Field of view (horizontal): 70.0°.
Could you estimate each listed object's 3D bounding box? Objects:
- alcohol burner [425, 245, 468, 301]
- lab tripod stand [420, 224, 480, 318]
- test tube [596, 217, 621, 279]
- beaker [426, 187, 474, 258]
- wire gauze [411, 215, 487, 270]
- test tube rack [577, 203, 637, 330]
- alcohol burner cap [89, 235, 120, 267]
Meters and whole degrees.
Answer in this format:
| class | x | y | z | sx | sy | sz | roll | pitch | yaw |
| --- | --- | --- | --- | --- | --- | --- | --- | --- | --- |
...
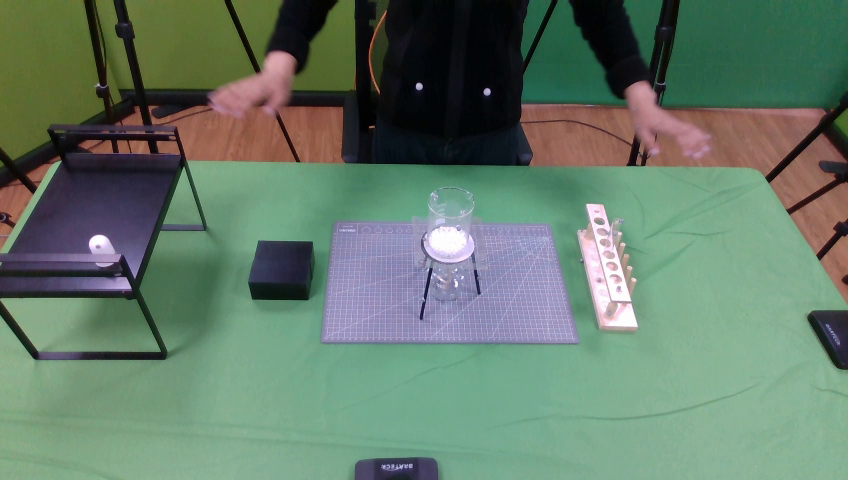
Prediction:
| class | x | y | z | sx | sy | sz | roll | pitch | yaw |
| --- | --- | --- | --- | --- | --- | --- | --- | --- | --- |
| alcohol burner | 0.040 | 0.053 | 1.083 | 0.078 | 0.120 | 0.077 | 1 | 47 | -1 |
| lab tripod stand | 0.034 | 0.052 | 1.071 | 0.148 | 0.132 | 0.147 | 3 | 48 | -3 |
| test tube | 0.331 | 0.018 | 1.094 | 0.017 | 0.151 | 0.017 | 0 | 45 | 0 |
| beaker | 0.043 | -0.027 | 0.989 | 0.084 | 0.101 | 0.073 | -27 | 53 | -25 |
| wire gauze | 0.041 | 0.003 | 1.026 | 0.125 | 0.011 | 0.120 | 0 | 46 | -1 |
| test tube rack | 0.348 | 0.045 | 1.139 | 0.067 | 0.085 | 0.241 | 2 | 46 | -2 |
| alcohol burner cap | -0.469 | 0.013 | 0.885 | 0.034 | 0.048 | 0.033 | 1 | 47 | -1 |
